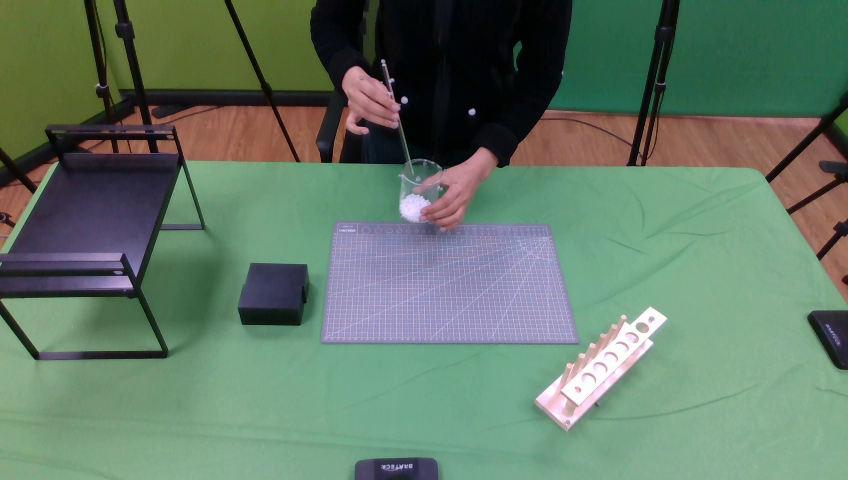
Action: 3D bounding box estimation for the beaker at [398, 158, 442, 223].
[{"bbox_3d":[-0.010,-0.089,1.102,0.074,0.101,0.083,10,45,1],"label":"beaker"}]

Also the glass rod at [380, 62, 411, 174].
[{"bbox_3d":[-0.045,-0.198,1.008,0.008,0.201,0.008,-10,33,7],"label":"glass rod"}]

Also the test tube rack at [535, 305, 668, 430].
[{"bbox_3d":[0.290,0.193,0.984,0.242,0.085,0.066,-32,56,-30],"label":"test tube rack"}]
